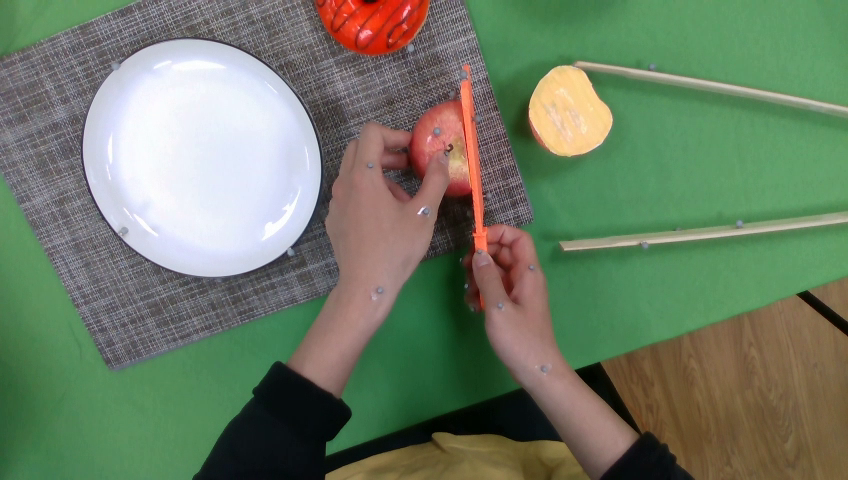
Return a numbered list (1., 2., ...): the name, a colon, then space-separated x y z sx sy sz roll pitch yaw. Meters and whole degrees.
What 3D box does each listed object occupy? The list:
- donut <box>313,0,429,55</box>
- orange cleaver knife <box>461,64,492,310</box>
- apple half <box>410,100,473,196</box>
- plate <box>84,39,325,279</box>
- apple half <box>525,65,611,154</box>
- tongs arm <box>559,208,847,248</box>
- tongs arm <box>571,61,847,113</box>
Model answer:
1. donut: -0.044 -0.205 0.501 0.099 0.048 0.099 0 106 2
2. orange cleaver knife: 0.047 -0.043 0.529 0.012 0.077 0.212 -3 111 12
3. apple half: 0.015 -0.078 0.521 0.053 0.074 0.081 -6 109 9
4. plate: -0.190 -0.070 0.540 0.209 0.038 0.210 0 105 0
5. apple half: 0.121 -0.110 0.535 0.081 0.033 0.081 1 84 -13
6. tongs arm: 0.318 -0.033 0.558 0.385 0.026 0.051 -5 101 0
7. tongs arm: 0.319 -0.118 0.539 0.388 0.027 0.028 10 97 -3
